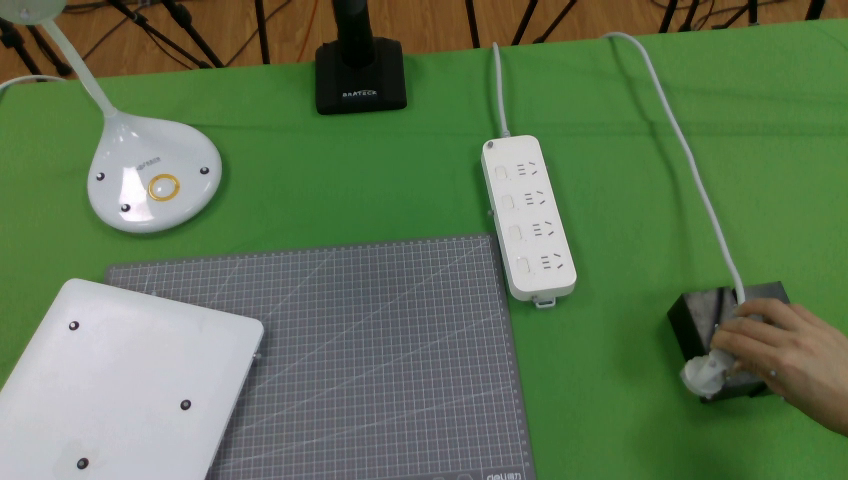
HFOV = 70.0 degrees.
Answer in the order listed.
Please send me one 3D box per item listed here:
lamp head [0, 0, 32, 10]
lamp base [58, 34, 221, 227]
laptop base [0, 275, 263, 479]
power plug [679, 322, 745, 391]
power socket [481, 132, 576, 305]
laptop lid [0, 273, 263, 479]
[{"bbox_3d":[-0.303,-0.233,0.419,0.112,0.111,0.123,-33,109,-16],"label":"lamp head"},{"bbox_3d":[-0.342,-0.130,0.682,0.160,0.182,0.178,-41,65,-19],"label":"lamp base"},{"bbox_3d":[-0.324,0.213,0.589,0.235,0.023,0.352,13,63,5],"label":"laptop base"},{"bbox_3d":[0.263,0.111,0.546,0.073,0.053,0.035,-19,58,-20],"label":"power plug"},{"bbox_3d":[0.118,-0.035,0.704,0.072,0.033,0.224,-6,61,-4],"label":"power socket"},{"bbox_3d":[-0.322,0.207,0.578,0.241,0.013,0.354,14,63,7],"label":"laptop lid"}]
